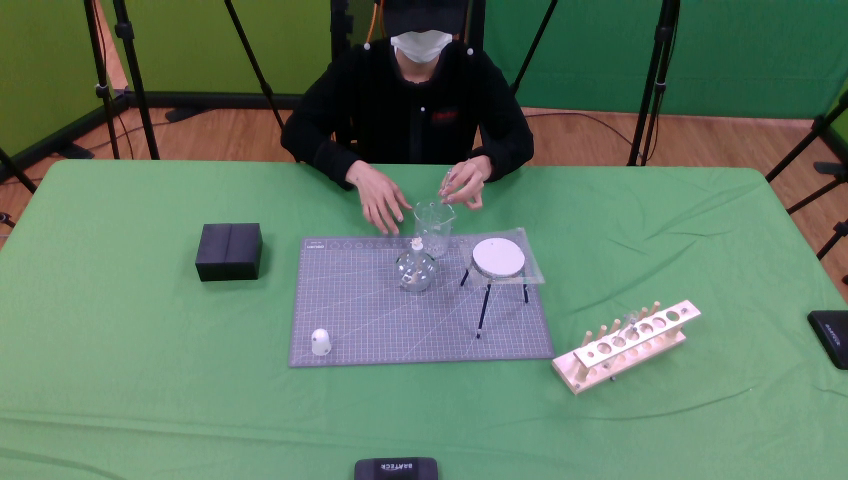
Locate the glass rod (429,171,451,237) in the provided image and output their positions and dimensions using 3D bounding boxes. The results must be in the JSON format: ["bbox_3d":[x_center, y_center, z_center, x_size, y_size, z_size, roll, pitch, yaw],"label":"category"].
[{"bbox_3d":[0.029,-0.063,1.129,0.008,0.200,0.008,5,55,-7],"label":"glass rod"}]

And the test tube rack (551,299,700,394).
[{"bbox_3d":[0.339,0.166,1.021,0.242,0.085,0.066,-19,50,-21],"label":"test tube rack"}]

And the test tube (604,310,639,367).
[{"bbox_3d":[0.310,0.158,0.957,0.017,0.151,0.017,1,49,-1],"label":"test tube"}]

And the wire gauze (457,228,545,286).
[{"bbox_3d":[0.126,0.029,1.006,0.125,0.011,0.120,-4,46,-10],"label":"wire gauze"}]

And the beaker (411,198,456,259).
[{"bbox_3d":[0.016,-0.019,1.161,0.084,0.101,0.073,6,46,1],"label":"beaker"}]

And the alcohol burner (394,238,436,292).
[{"bbox_3d":[-0.016,0.038,1.093,0.078,0.119,0.077,2,48,-2],"label":"alcohol burner"}]

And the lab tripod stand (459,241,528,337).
[{"bbox_3d":[0.122,0.075,1.054,0.148,0.132,0.147,3,44,-3],"label":"lab tripod stand"}]

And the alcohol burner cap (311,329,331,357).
[{"bbox_3d":[-0.173,0.168,1.004,0.034,0.048,0.033,2,46,-2],"label":"alcohol burner cap"}]
